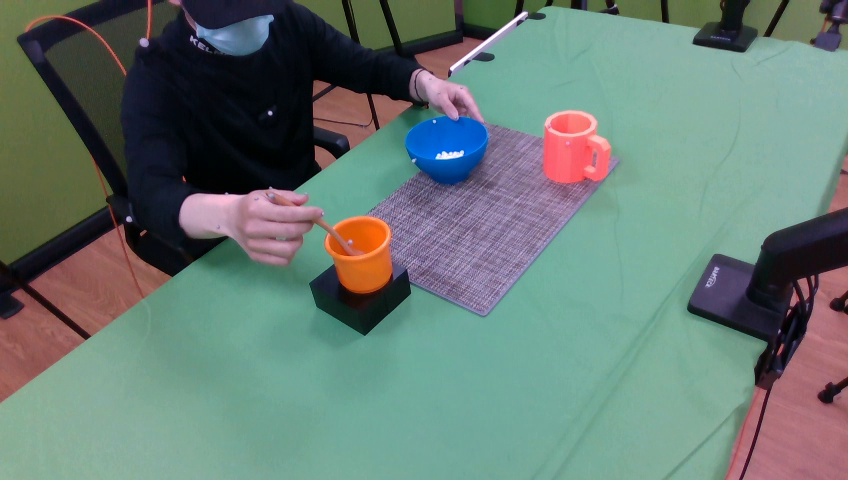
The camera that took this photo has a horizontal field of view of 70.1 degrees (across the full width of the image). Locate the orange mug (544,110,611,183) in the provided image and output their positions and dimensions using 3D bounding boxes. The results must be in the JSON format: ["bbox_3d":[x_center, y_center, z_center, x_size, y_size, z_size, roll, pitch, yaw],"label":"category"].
[{"bbox_3d":[0.266,-0.157,1.049,0.084,0.101,0.125,-33,42,-26],"label":"orange mug"}]

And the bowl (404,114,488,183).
[{"bbox_3d":[0.043,-0.156,1.095,0.151,0.077,0.150,-4,41,4],"label":"bowl"}]

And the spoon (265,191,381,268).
[{"bbox_3d":[-0.125,-0.012,0.778,0.021,0.195,0.041,-46,38,4],"label":"spoon"}]
